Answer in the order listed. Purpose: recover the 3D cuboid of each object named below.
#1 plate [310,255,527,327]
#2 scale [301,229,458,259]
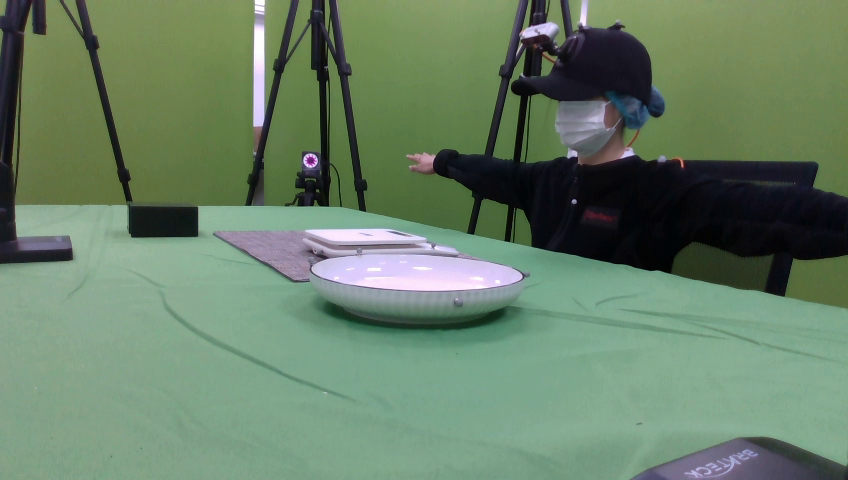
[{"bbox_3d":[-0.006,0.047,0.587,0.208,0.039,0.207,3,7,0],"label":"plate"},{"bbox_3d":[-0.065,0.007,0.878,0.202,0.031,0.148,0,8,-29],"label":"scale"}]
